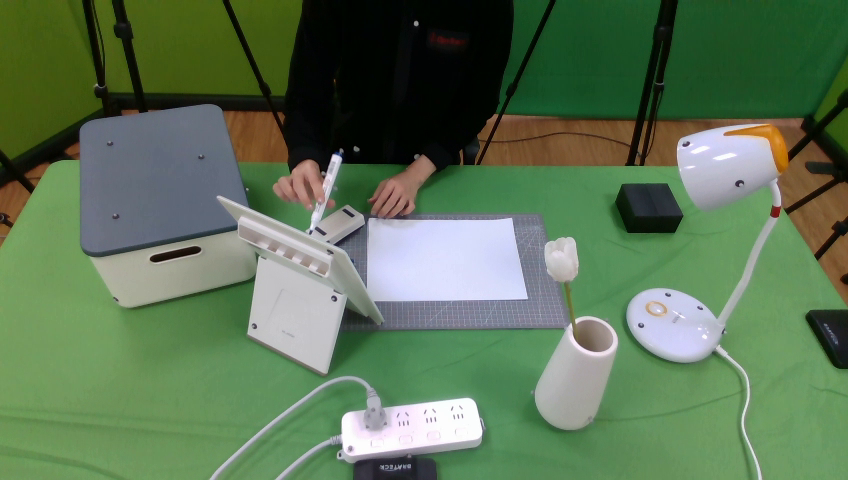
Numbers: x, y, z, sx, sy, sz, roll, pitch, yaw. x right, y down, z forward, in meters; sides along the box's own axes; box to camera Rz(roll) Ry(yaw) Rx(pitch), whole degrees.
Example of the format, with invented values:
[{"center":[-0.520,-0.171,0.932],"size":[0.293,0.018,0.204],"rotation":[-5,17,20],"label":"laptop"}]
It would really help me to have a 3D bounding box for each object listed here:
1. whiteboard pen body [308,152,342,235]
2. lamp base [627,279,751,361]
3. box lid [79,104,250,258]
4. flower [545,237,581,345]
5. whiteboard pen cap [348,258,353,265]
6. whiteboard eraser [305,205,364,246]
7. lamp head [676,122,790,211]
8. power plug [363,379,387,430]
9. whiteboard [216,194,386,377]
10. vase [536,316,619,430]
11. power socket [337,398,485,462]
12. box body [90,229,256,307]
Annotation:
[{"center":[-0.157,-0.074,0.955],"size":[0.017,0.017,0.140],"rotation":[15,78,10],"label":"whiteboard pen body"},{"center":[0.460,0.100,1.027],"size":[0.178,0.181,0.160],"rotation":[27,51,17],"label":"lamp base"},{"center":[-0.467,-0.120,1.075],"size":[0.264,0.015,0.369],"rotation":[-13,49,-17],"label":"box lid"},{"center":[0.213,0.137,0.846],"size":[0.038,0.364,0.044],"rotation":[21,55,40],"label":"flower"},{"center":[-0.152,0.041,1.146],"size":[0.033,0.018,0.018],"rotation":[12,47,11],"label":"whiteboard pen cap"},{"center":[-0.175,-0.021,1.188],"size":[0.055,0.042,0.112],"rotation":[36,52,27],"label":"whiteboard eraser"},{"center":[0.423,-0.104,0.819],"size":[0.122,0.113,0.112],"rotation":[-13,33,40],"label":"lamp head"},{"center":[-0.071,0.252,0.911],"size":[0.035,0.053,0.072],"rotation":[3,40,0],"label":"power plug"},{"center":[-0.212,0.093,0.939],"size":[0.216,0.307,0.143],"rotation":[24,70,17],"label":"whiteboard"},{"center":[0.229,0.200,0.901],"size":[0.098,0.201,0.097],"rotation":[3,46,-3],"label":"vase"},{"center":[-0.018,0.285,0.914],"size":[0.227,0.033,0.071],"rotation":[-4,46,-8],"label":"power socket"},{"center":[-0.471,-0.070,1.131],"size":[0.254,0.161,0.361],"rotation":[-14,49,-17],"label":"box body"}]
